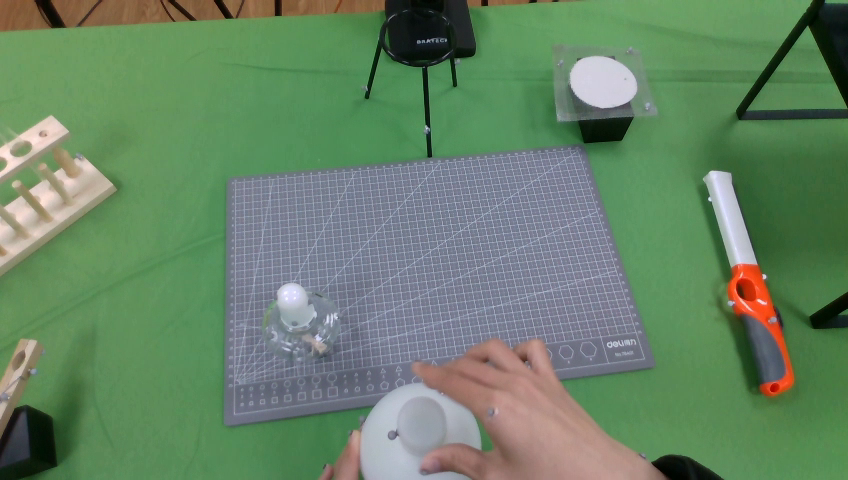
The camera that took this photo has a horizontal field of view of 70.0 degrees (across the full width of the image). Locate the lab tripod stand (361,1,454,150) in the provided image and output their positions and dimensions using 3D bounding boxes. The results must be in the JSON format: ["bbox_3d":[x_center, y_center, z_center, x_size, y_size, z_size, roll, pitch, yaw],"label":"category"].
[{"bbox_3d":[-0.010,-0.206,0.741,0.148,0.132,0.147,2,63,-3],"label":"lab tripod stand"}]

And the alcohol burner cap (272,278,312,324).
[{"bbox_3d":[-0.125,0.055,0.567,0.034,0.048,0.033,0,57,1],"label":"alcohol burner cap"}]

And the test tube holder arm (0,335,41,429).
[{"bbox_3d":[-0.387,0.170,0.539,0.013,0.015,0.177,6,63,6],"label":"test tube holder arm"}]

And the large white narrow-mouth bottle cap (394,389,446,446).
[{"bbox_3d":[-0.004,0.125,0.426,0.038,0.024,0.037,1,62,-2],"label":"large white narrow-mouth bottle cap"}]

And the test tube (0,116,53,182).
[{"bbox_3d":[-0.439,-0.108,0.641,0.017,0.151,0.017,0,61,1],"label":"test tube"}]

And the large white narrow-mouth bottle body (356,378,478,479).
[{"bbox_3d":[-0.006,0.172,0.510,0.102,0.196,0.101,1,62,-1],"label":"large white narrow-mouth bottle body"}]

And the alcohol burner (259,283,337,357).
[{"bbox_3d":[-0.126,0.072,0.599,0.078,0.120,0.077,2,61,-3],"label":"alcohol burner"}]

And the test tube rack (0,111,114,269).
[{"bbox_3d":[-0.473,-0.026,0.652,0.066,0.086,0.242,39,67,16],"label":"test tube rack"}]

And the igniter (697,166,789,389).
[{"bbox_3d":[0.361,0.034,0.693,0.057,0.025,0.274,4,62,-12],"label":"igniter"}]

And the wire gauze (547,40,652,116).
[{"bbox_3d":[0.219,-0.207,0.768,0.121,0.011,0.124,1,62,-2],"label":"wire gauze"}]

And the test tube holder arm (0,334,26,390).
[{"bbox_3d":[-0.387,0.130,0.560,0.010,0.015,0.087,4,63,5],"label":"test tube holder arm"}]
